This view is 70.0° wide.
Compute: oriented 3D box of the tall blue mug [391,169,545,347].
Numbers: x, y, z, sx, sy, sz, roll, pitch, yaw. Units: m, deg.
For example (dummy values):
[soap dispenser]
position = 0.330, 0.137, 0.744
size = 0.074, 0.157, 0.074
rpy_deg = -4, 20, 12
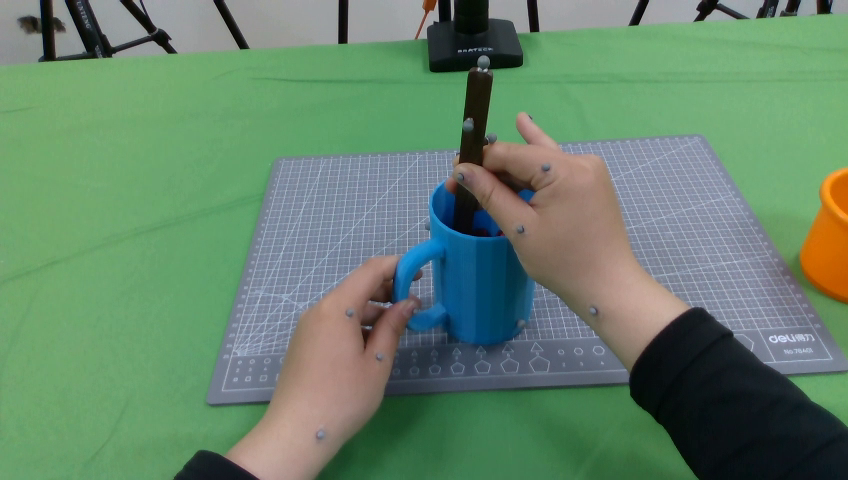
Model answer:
[tall blue mug]
position = 0.035, 0.024, 0.429
size = 0.077, 0.109, 0.107
rpy_deg = 20, 48, 23

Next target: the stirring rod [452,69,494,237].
[stirring rod]
position = 0.027, -0.031, 0.380
size = 0.014, 0.177, 0.006
rpy_deg = 10, 51, 6
